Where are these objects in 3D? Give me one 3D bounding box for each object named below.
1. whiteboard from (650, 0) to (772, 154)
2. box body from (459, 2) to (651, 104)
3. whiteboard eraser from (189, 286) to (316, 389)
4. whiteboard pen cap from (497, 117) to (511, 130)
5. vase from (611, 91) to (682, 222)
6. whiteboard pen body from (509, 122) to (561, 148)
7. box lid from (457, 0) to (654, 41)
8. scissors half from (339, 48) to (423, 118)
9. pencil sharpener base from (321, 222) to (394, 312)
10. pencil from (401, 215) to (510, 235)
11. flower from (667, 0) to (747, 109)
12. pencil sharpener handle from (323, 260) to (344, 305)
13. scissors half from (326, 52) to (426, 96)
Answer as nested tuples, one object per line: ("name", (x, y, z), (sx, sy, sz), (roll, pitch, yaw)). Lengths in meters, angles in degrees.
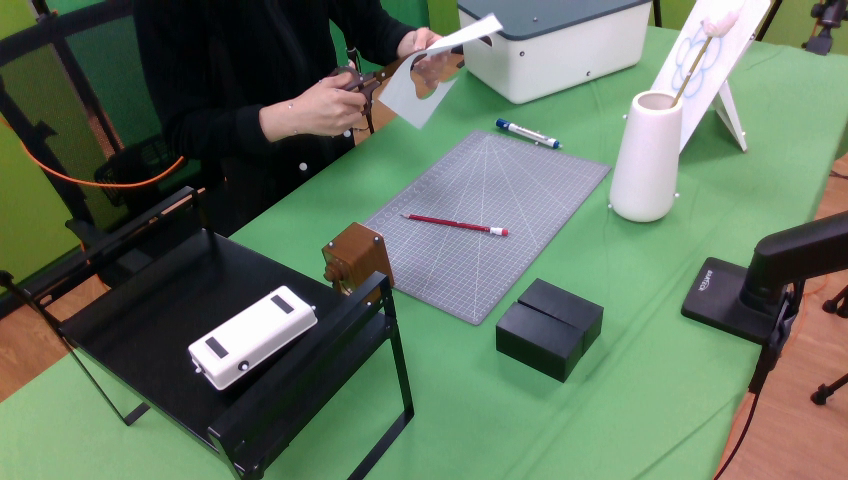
("whiteboard", (0.543, -0.298, 1.076), (0.144, 0.305, 0.216), (12, 40, -7))
("box body", (0.291, -0.465, 1.371), (0.365, 0.161, 0.252), (-22, 42, -16))
("whiteboard eraser", (-0.166, 0.096, 0.593), (0.113, 0.042, 0.055), (-36, 47, -29))
("whiteboard pen cap", (0.165, -0.235, 1.226), (0.033, 0.018, 0.018), (31, 53, 31))
("vase", (0.348, -0.125, 0.935), (0.098, 0.201, 0.097), (-3, 40, 3))
("whiteboard pen body", (0.209, -0.212, 1.195), (0.139, 0.017, 0.017), (30, 52, 33))
("box lid", (0.285, -0.522, 1.323), (0.373, 0.015, 0.261), (-22, 43, -16))
("scissors half", (-0.064, -0.236, 0.910), (0.174, 0.040, 0.013), (-33, 13, 34))
("pencil sharpener base", (-0.096, 0.041, 0.873), (0.061, 0.107, 0.077), (26, 54, 32))
("pencil", (0.049, -0.027, 1.007), (0.193, 0.012, 0.012), (10, 43, 21))
("flower", (0.354, -0.187, 0.879), (0.038, 0.362, 0.044), (30, 48, 14))
("pencil sharpener handle", (-0.131, 0.062, 0.839), (0.035, 0.068, 0.031), (29, 55, 28))
("scissors half", (-0.075, -0.253, 0.904), (0.174, 0.040, 0.013), (-9, 31, 25))
